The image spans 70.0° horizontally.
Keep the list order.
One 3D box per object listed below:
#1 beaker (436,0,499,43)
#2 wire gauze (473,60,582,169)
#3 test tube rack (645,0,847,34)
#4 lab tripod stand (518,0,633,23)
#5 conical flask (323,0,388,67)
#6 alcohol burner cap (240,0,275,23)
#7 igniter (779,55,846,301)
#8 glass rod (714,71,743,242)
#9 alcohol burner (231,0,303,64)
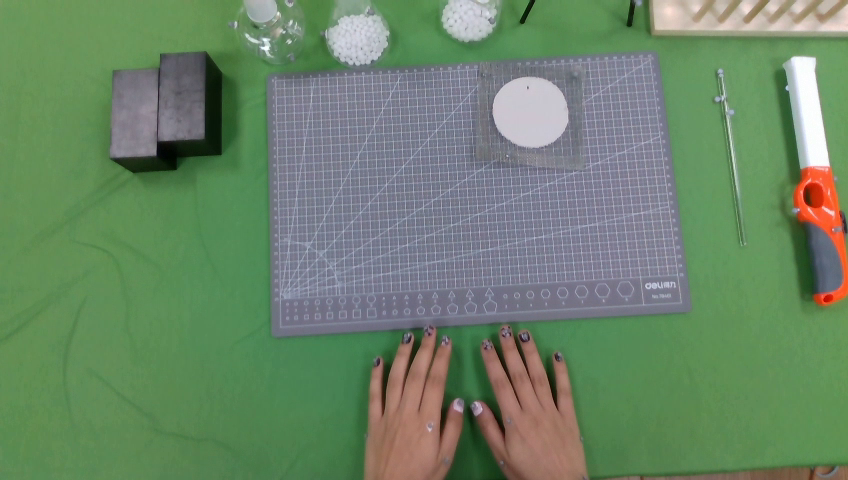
[{"bbox_3d":[0.049,-0.267,0.663,0.074,0.100,0.083,-21,81,-3],"label":"beaker"},{"bbox_3d":[0.118,-0.145,0.685,0.125,0.011,0.121,5,80,-2],"label":"wire gauze"},{"bbox_3d":[0.381,-0.280,0.670,0.242,0.085,0.066,0,80,1],"label":"test tube rack"},{"bbox_3d":[0.173,-0.300,0.650,0.148,0.132,0.148,0,82,1],"label":"lab tripod stand"},{"bbox_3d":[-0.079,-0.244,0.648,0.075,0.122,0.075,0,80,0],"label":"conical flask"},{"bbox_3d":[-0.174,-0.250,0.617,0.034,0.048,0.033,0,74,0],"label":"alcohol burner cap"},{"bbox_3d":[0.425,-0.071,0.664,0.057,0.025,0.275,0,80,-9],"label":"igniter"},{"bbox_3d":[0.340,-0.096,0.678,0.008,0.008,0.199,-3,80,0],"label":"glass rod"},{"bbox_3d":[-0.173,-0.241,0.652,0.078,0.119,0.077,0,81,2],"label":"alcohol burner"}]
